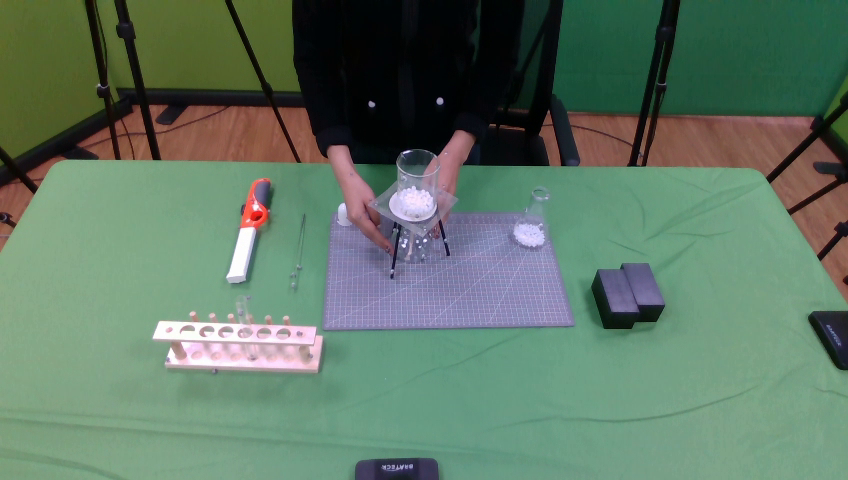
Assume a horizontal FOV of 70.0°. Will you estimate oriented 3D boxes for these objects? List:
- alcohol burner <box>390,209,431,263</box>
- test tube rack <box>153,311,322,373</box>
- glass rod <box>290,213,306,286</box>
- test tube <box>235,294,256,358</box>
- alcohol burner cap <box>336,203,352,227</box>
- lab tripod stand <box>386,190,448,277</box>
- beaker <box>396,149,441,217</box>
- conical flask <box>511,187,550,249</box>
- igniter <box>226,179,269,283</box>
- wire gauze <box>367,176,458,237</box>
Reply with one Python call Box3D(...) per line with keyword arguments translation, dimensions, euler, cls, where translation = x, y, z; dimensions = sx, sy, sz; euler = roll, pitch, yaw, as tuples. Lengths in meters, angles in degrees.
Box3D(translation=(-0.024, -0.014, 1.144), dimensions=(0.078, 0.119, 0.077), euler=(3, 45, -3), cls="alcohol burner")
Box3D(translation=(-0.293, 0.160, 0.978), dimensions=(0.242, 0.085, 0.066), euler=(3, 46, -2), cls="test tube rack")
Box3D(translation=(-0.244, 0.015, 1.175), dimensions=(0.008, 0.008, 0.198), euler=(1, 43, -3), cls="glass rod")
Box3D(translation=(-0.274, 0.136, 0.933), dimensions=(0.017, 0.151, 0.017), euler=(4, 46, -4), cls="test tube")
Box3D(translation=(-0.162, -0.053, 1.220), dimensions=(0.034, 0.048, 0.033), euler=(1, 46, -1), cls="alcohol burner cap")
Box3D(translation=(-0.021, -0.018, 1.135), dimensions=(0.148, 0.132, 0.147), euler=(3, 44, -3), cls="lab tripod stand")
Box3D(translation=(-0.015, -0.098, 1.053), dimensions=(0.074, 0.101, 0.083), euler=(-31, 55, -30), cls="beaker")
Box3D(translation=(0.217, -0.048, 1.190), dimensions=(0.075, 0.122, 0.075), euler=(2, 46, -2), cls="conical flask")
Box3D(translation=(-0.345, -0.027, 1.195), dimensions=(0.057, 0.025, 0.274), euler=(-6, 46, 5), cls="igniter")
Box3D(translation=(-0.020, -0.066, 1.089), dimensions=(0.124, 0.011, 0.121), euler=(27, 47, 22), cls="wire gauze")
